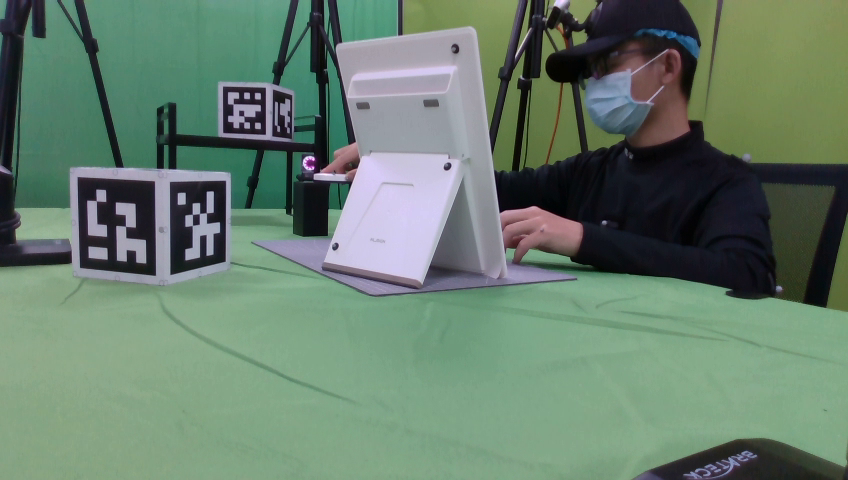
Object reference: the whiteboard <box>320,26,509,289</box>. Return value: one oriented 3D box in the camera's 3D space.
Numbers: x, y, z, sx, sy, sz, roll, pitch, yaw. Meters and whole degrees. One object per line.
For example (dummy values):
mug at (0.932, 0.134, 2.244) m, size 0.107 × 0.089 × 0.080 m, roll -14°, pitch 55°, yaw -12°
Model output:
whiteboard at (-0.045, -0.076, 0.721) m, size 0.216 × 0.305 × 0.144 m, roll 9°, pitch 29°, yaw 39°

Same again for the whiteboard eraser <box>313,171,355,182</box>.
whiteboard eraser at (-0.163, -0.122, 1.155) m, size 0.102 × 0.019 × 0.041 m, roll -2°, pitch 9°, yaw -33°
